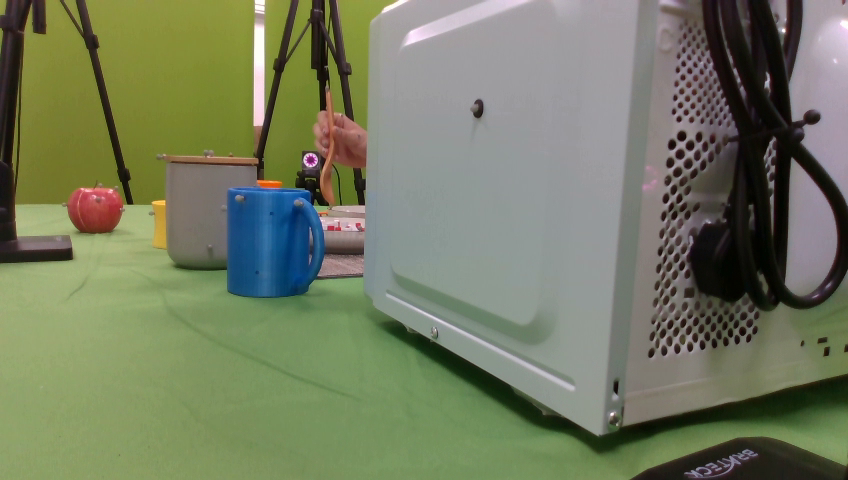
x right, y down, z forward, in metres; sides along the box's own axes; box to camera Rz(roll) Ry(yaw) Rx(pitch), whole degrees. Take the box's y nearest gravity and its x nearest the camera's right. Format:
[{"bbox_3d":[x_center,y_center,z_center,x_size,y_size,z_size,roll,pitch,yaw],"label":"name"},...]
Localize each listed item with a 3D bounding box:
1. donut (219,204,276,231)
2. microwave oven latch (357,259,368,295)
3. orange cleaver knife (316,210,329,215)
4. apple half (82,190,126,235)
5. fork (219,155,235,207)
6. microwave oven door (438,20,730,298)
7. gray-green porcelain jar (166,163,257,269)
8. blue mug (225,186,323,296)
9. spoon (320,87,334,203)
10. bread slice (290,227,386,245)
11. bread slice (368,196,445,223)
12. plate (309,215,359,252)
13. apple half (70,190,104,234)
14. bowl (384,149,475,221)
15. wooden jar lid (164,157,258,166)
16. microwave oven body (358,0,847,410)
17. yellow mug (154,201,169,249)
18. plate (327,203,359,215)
[{"bbox_3d":[-0.316,-0.039,1.083,0.099,0.048,0.099,3,7,0],"label":"donut"},{"bbox_3d":[-0.019,0.031,0.529,0.079,0.029,0.030,-1,7,-26],"label":"microwave oven latch"},{"bbox_3d":[-0.259,-0.064,1.423,0.212,0.012,0.077,-4,3,-30],"label":"orange cleaver knife"},{"bbox_3d":[-0.516,-0.046,0.994,0.032,0.081,0.081,0,6,26],"label":"apple half"},{"bbox_3d":[-0.459,-0.134,1.415,0.028,0.018,0.207,-1,-34,-25],"label":"fork"},{"bbox_3d":[0.181,-0.076,0.618,0.358,0.243,0.039,-2,8,-28],"label":"microwave oven door"},{"bbox_3d":[-0.263,-0.031,0.754,0.106,0.126,0.106,2,7,0],"label":"gray-green porcelain jar"},{"bbox_3d":[-0.148,0.000,0.618,0.116,0.106,0.083,7,9,33],"label":"blue mug"},{"bbox_3d":[-0.151,-0.153,0.964,0.021,0.193,0.042,-2,-11,14],"label":"spoon"},{"bbox_3d":[-0.124,-0.007,0.937,0.131,0.019,0.105,2,7,32],"label":"bread slice"},{"bbox_3d":[-0.040,-0.057,1.142,0.107,0.018,0.133,-8,-8,-39],"label":"bread slice"},{"bbox_3d":[-0.130,-0.011,0.945,0.208,0.039,0.207,2,8,0],"label":"plate"},{"bbox_3d":[-0.552,-0.047,1.010,0.053,0.074,0.081,0,10,26],"label":"apple half"},{"bbox_3d":[0.020,-0.080,0.959,0.151,0.077,0.151,-21,-2,0],"label":"bowl"},{"bbox_3d":[-0.261,-0.093,0.746,0.108,0.020,0.108,0,9,0],"label":"wooden jar lid"},{"bbox_3d":[0.210,-0.051,0.471,0.444,0.260,0.324,-1,7,-28],"label":"microwave oven body"},{"bbox_3d":[-0.337,-0.022,0.899,0.130,0.064,0.100,8,9,34],"label":"yellow mug"},{"bbox_3d":[-0.102,-0.053,1.299,0.209,0.038,0.209,2,8,0],"label":"plate"}]
